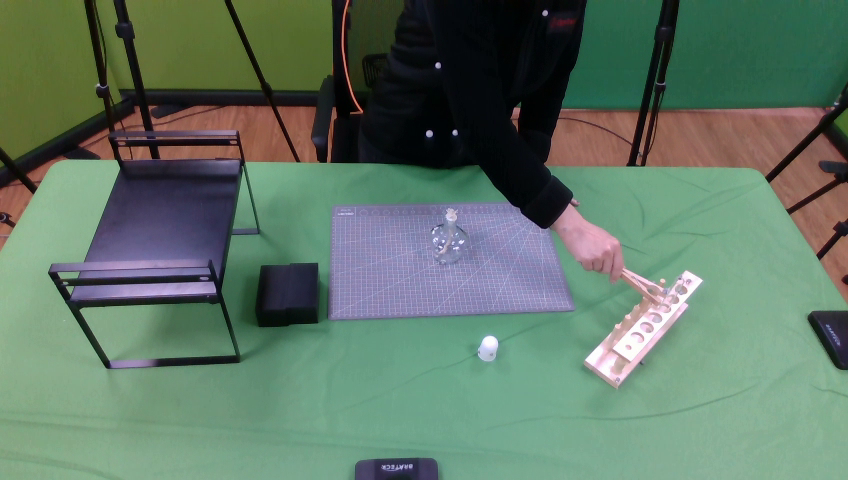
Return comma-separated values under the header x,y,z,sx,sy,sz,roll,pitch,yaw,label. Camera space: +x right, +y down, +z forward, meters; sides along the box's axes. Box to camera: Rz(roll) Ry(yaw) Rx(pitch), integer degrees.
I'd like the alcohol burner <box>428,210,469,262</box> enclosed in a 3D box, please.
x,y,z,sx,sy,sz,roll,pitch,yaw,label
0.048,-0.014,1.146,0.078,0.119,0.077,3,48,-3,alcohol burner

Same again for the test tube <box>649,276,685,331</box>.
x,y,z,sx,sy,sz,roll,pitch,yaw,label
0.401,0.109,1.007,0.017,0.151,0.017,0,50,0,test tube

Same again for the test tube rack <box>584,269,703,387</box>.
x,y,z,sx,sy,sz,roll,pitch,yaw,label
0.381,0.139,1.045,0.066,0.085,0.242,37,54,27,test tube rack

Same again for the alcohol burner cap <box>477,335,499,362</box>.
x,y,z,sx,sy,sz,roll,pitch,yaw,label
0.109,0.180,1.016,0.034,0.048,0.033,4,50,-4,alcohol burner cap

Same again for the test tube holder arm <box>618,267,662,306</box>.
x,y,z,sx,sy,sz,roll,pitch,yaw,label
0.361,0.076,1.017,0.010,0.015,0.087,-31,63,-20,test tube holder arm

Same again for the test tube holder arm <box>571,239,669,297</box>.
x,y,z,sx,sy,sz,roll,pitch,yaw,label
0.332,0.047,1.035,0.178,0.015,0.013,32,60,18,test tube holder arm
